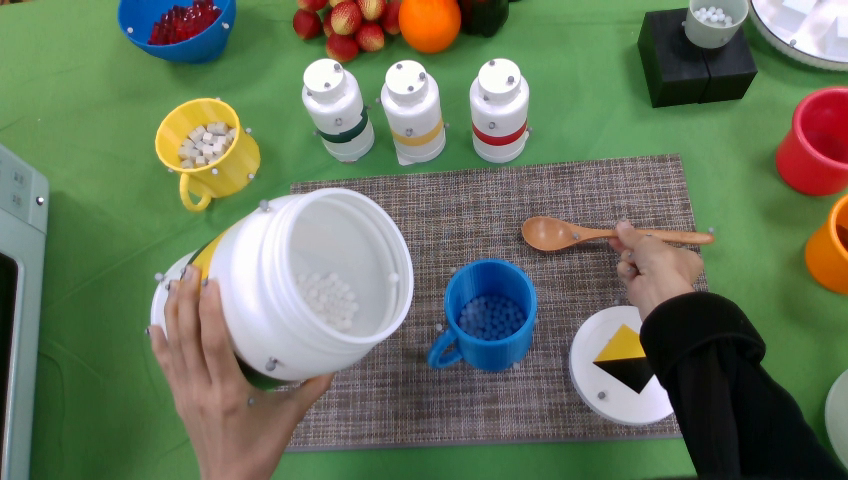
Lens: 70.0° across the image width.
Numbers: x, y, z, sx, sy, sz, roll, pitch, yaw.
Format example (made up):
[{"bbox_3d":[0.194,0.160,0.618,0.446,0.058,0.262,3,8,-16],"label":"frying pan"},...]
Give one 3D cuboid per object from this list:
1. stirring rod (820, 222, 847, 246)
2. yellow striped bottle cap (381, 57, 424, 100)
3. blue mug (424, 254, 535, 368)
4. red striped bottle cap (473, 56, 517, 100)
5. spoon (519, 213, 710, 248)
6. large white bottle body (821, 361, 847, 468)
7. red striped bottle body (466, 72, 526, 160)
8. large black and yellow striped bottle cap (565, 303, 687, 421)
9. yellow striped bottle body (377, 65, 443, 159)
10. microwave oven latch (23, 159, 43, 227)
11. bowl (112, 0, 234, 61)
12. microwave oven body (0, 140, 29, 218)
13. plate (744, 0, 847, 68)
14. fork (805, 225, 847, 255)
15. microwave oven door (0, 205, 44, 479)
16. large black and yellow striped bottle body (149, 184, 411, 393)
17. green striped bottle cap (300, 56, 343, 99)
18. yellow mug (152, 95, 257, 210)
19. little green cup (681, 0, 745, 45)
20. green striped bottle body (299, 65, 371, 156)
[{"bbox_3d":[0.412,0.019,0.548,0.014,0.006,0.175,-1,24,3],"label":"stirring rod"},{"bbox_3d":[-0.022,-0.167,0.627,0.044,0.019,0.044,-1,64,2],"label":"yellow striped bottle cap"},{"bbox_3d":[0.049,0.080,0.576,0.116,0.107,0.081,-36,67,-8],"label":"blue mug"},{"bbox_3d":[0.073,-0.165,0.614,0.044,0.018,0.044,-1,66,2],"label":"red striped bottle cap"},{"bbox_3d":[0.197,-0.009,0.635,0.193,0.022,0.041,1,60,14],"label":"spoon"},{"bbox_3d":[0.420,0.134,0.472,0.130,0.186,0.129,-2,67,6],"label":"large white bottle body"},{"bbox_3d":[0.078,-0.144,0.663,0.063,0.120,0.062,-2,66,6],"label":"red striped bottle body"},{"bbox_3d":[0.197,0.117,0.592,0.115,0.019,0.114,-2,65,5],"label":"large black and yellow striped bottle cap"},{"bbox_3d":[-0.015,-0.147,0.674,0.063,0.121,0.062,-3,66,6],"label":"yellow striped bottle body"},{"bbox_3d":[-0.469,-0.053,0.712,0.030,0.030,0.078,-11,67,1],"label":"microwave oven latch"},{"bbox_3d":[-0.311,-0.289,0.790,0.151,0.077,0.150,-2,67,5],"label":"bowl"},{"bbox_3d":[-0.592,0.099,0.558,0.326,0.262,0.438,-12,67,1],"label":"microwave oven body"},{"bbox_3d":[0.483,-0.286,0.719,0.209,0.038,0.207,-2,68,6],"label":"plate"},{"bbox_3d":[0.440,0.018,0.536,0.028,0.019,0.205,-30,23,-14],"label":"fork"},{"bbox_3d":[-0.442,0.104,0.533,0.039,0.246,0.353,-13,66,2],"label":"microwave oven door"},{"bbox_3d":[-0.110,0.040,0.461,0.183,0.132,0.130,-23,59,41],"label":"large black and yellow striped bottle body"},{"bbox_3d":[-0.108,-0.172,0.639,0.044,0.020,0.044,-2,66,5],"label":"green striped bottle cap"},{"bbox_3d":[-0.260,-0.097,0.711,0.100,0.064,0.130,6,69,9],"label":"yellow mug"},{"bbox_3d":[0.315,-0.248,0.667,0.061,0.039,0.061,-2,65,4],"label":"little green cup"},{"bbox_3d":[-0.101,-0.151,0.686,0.063,0.120,0.062,-2,67,5],"label":"green striped bottle body"}]
